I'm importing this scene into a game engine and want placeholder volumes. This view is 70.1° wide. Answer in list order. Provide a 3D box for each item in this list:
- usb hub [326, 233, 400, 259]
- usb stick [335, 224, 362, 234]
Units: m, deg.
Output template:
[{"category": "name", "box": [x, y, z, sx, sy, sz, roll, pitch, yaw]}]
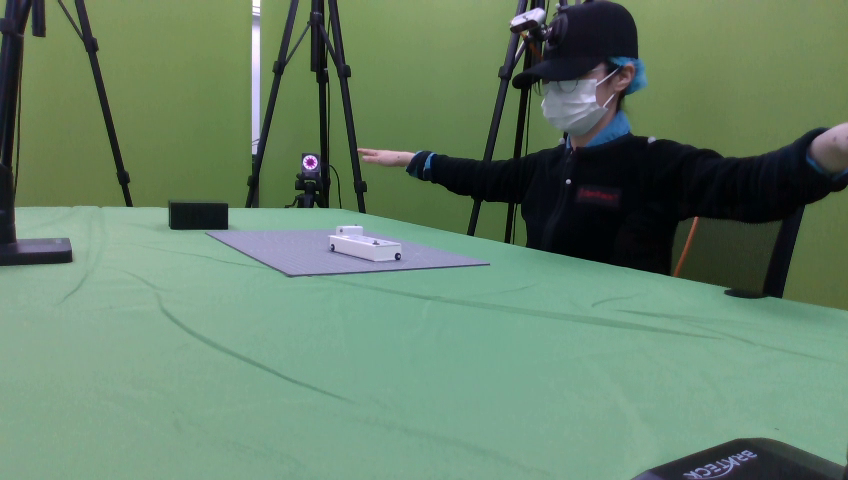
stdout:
[{"category": "usb hub", "box": [-0.092, 0.008, 0.892, 0.050, 0.025, 0.124, -5, 9, -40]}, {"category": "usb stick", "box": [-0.135, -0.013, 1.040, 0.021, 0.027, 0.059, 10, 14, 42]}]
